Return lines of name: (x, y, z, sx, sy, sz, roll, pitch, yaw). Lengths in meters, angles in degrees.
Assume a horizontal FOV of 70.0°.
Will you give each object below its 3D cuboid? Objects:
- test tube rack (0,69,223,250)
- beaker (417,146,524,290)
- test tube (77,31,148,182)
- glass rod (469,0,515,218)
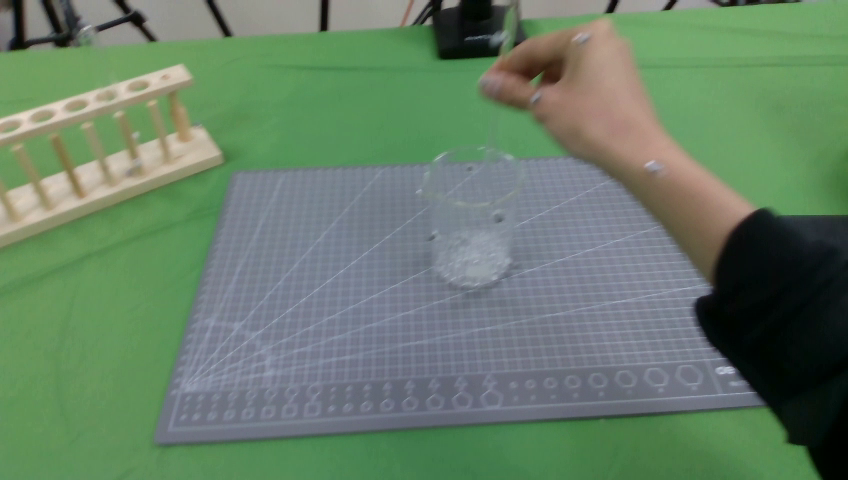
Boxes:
test tube rack: (-0.330, -0.078, 0.582, 0.242, 0.086, 0.066, -26, 50, -23)
beaker: (0.036, -0.014, 0.495, 0.084, 0.101, 0.073, -16, 46, -13)
test tube: (-0.284, -0.118, 0.557, 0.017, 0.151, 0.017, 0, 42, 0)
glass rod: (0.044, -0.087, 0.411, 0.008, 0.201, 0.008, 3, 47, -2)
